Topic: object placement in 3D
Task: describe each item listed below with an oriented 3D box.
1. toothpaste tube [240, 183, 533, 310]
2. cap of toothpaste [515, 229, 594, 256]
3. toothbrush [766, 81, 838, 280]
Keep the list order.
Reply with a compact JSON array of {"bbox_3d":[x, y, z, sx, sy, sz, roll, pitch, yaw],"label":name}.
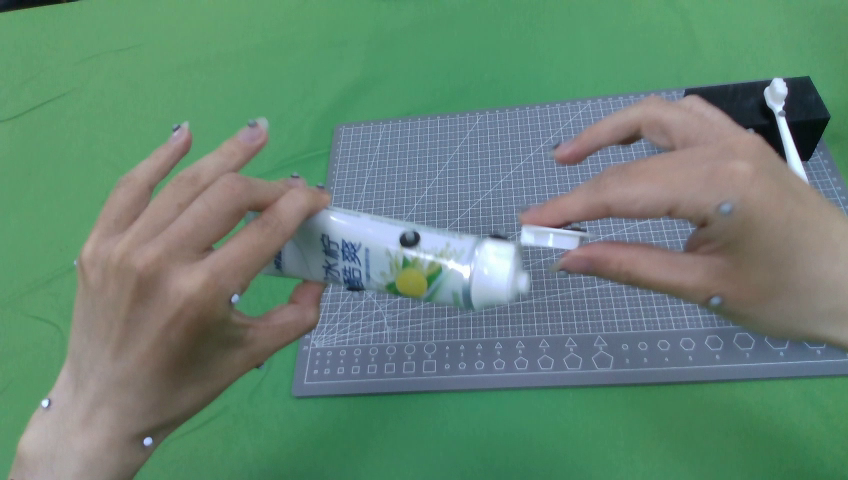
[{"bbox_3d":[-0.025,0.005,0.312,0.164,0.055,0.034,9,23,22],"label":"toothpaste tube"},{"bbox_3d":[0.060,0.001,0.279,0.037,0.037,0.011,3,88,14],"label":"cap of toothpaste"},{"bbox_3d":[0.275,-0.051,0.441,0.014,0.017,0.180,7,57,1],"label":"toothbrush"}]
